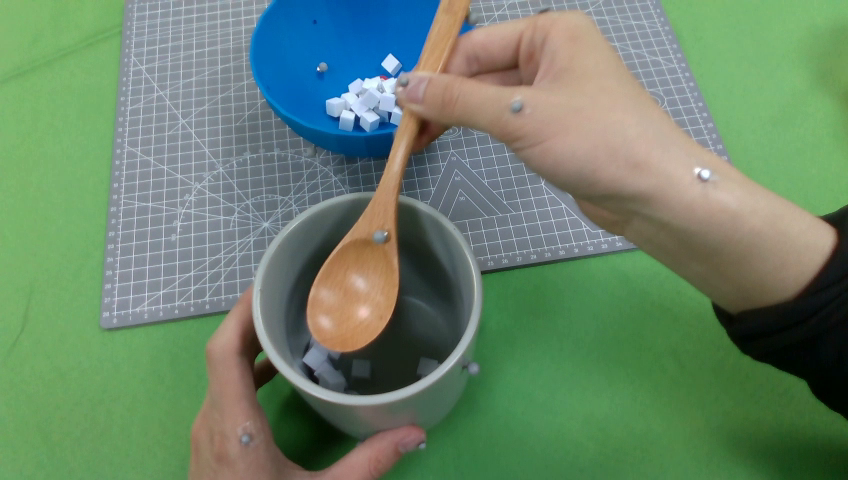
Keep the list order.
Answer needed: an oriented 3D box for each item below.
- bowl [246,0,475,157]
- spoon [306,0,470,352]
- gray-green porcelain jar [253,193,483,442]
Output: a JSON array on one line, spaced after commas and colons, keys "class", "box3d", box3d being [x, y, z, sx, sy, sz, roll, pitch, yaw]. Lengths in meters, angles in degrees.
[{"class": "bowl", "box3d": [-0.041, -0.112, 0.432, 0.151, 0.077, 0.150, 0, 64, 1]}, {"class": "spoon", "box3d": [-0.009, -0.041, 0.274, 0.041, 0.022, 0.194, 21, 96, 14]}, {"class": "gray-green porcelain jar", "box3d": [-0.024, 0.050, 0.330, 0.106, 0.127, 0.105, 0, 64, 1]}]
